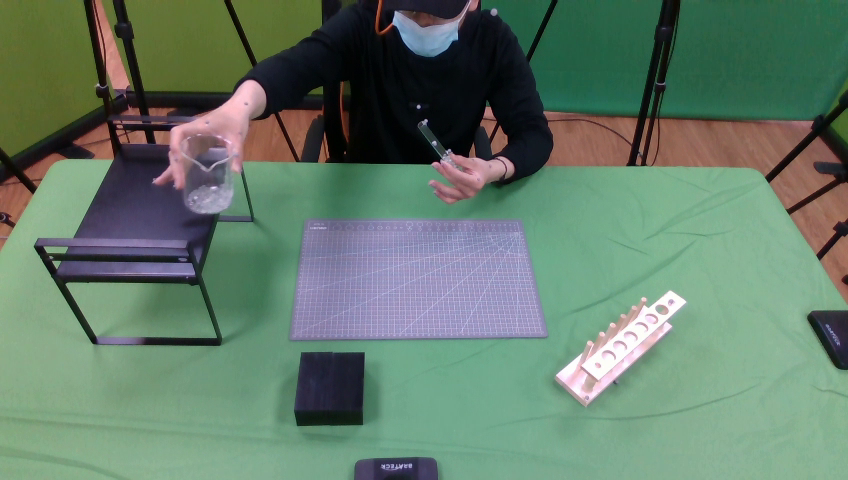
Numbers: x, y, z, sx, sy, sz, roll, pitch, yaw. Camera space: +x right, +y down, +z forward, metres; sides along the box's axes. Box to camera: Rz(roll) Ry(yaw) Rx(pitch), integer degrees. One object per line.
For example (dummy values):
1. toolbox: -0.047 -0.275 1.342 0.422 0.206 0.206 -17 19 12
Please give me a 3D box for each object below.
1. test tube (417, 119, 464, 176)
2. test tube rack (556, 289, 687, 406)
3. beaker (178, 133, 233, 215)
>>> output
1. test tube: 0.034 -0.167 1.117 0.017 0.151 0.017 -22 44 24
2. test tube rack: 0.332 0.165 1.014 0.242 0.085 0.066 -31 55 -28
3. beaker: -0.318 -0.092 0.887 0.074 0.100 0.083 -2 43 -19
